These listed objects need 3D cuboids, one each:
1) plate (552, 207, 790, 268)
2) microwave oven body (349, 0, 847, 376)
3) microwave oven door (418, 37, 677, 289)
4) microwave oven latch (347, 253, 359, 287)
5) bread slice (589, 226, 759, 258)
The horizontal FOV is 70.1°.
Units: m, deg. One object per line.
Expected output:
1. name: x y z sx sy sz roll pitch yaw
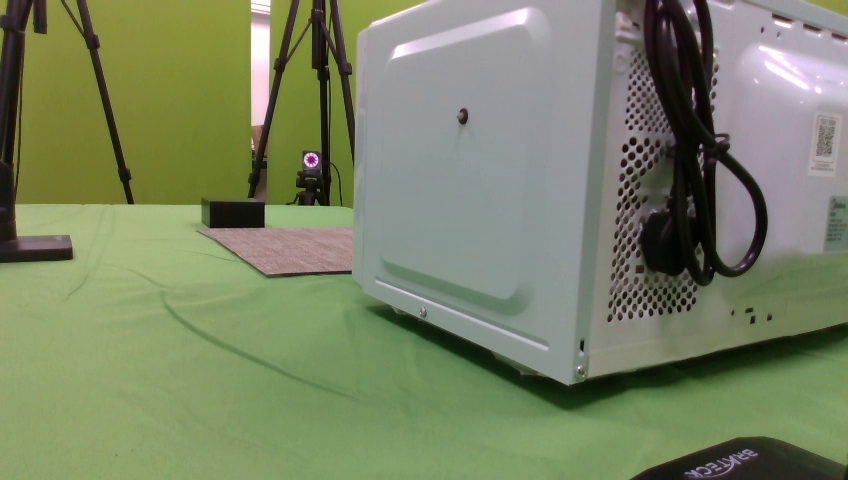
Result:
1. plate: 0.225 -0.005 0.572 0.209 0.038 0.209 4 7 0
2. microwave oven body: 0.199 -0.053 0.540 0.444 0.260 0.324 -1 7 -32
3. microwave oven door: 0.159 -0.079 0.684 0.358 0.243 0.039 -2 9 -32
4. microwave oven latch: -0.034 0.028 0.581 0.079 0.029 0.030 -1 7 -31
5. bread slice: 0.226 0.000 0.568 0.132 0.019 0.104 3 6 -23
